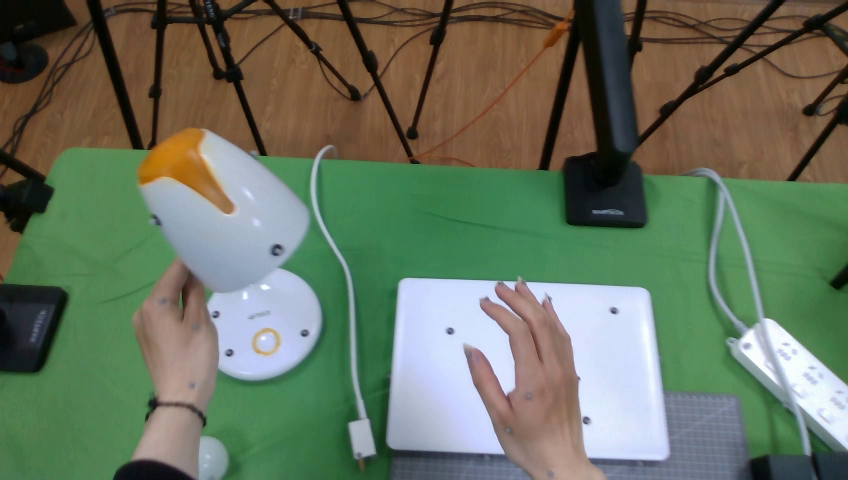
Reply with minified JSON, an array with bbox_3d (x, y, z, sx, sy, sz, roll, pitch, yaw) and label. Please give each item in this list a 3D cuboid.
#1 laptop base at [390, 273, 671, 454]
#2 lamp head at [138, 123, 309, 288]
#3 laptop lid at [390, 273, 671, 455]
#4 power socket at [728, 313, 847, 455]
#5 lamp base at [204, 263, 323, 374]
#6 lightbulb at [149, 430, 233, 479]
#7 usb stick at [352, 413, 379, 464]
[{"bbox_3d":[0.137,0.160,0.812,0.354,0.023,0.233,2,65,0],"label":"laptop base"},{"bbox_3d":[-0.176,-0.038,0.511,0.112,0.124,0.111,-24,35,19],"label":"lamp head"},{"bbox_3d":[0.137,0.156,0.800,0.357,0.013,0.239,3,64,1],"label":"laptop lid"},{"bbox_3d":[0.509,0.190,0.791,0.072,0.033,0.225,-36,68,-18],"label":"power socket"},{"bbox_3d":[-0.225,0.059,0.765,0.161,0.182,0.177,-25,63,-13],"label":"lamp base"},{"bbox_3d":[-0.284,0.261,0.735,0.107,0.060,0.059,-5,62,14],"label":"lightbulb"},{"bbox_3d":[-0.072,0.249,0.757,0.027,0.021,0.059,-11,72,-6],"label":"usb stick"}]
